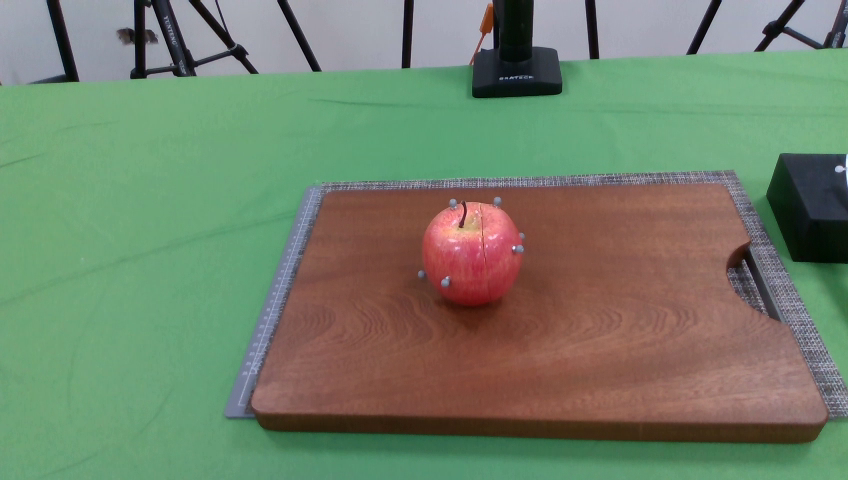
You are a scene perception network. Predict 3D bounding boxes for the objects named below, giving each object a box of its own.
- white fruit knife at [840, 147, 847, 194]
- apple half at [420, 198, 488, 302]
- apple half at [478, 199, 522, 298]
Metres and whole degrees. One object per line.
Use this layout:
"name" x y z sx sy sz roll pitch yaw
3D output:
"white fruit knife" 0.365 0.009 0.488 0.027 0.016 0.205 1 62 8
"apple half" 0.024 0.010 0.492 0.053 0.075 0.080 -7 45 7
"apple half" 0.063 0.007 0.489 0.033 0.082 0.080 -7 41 6
